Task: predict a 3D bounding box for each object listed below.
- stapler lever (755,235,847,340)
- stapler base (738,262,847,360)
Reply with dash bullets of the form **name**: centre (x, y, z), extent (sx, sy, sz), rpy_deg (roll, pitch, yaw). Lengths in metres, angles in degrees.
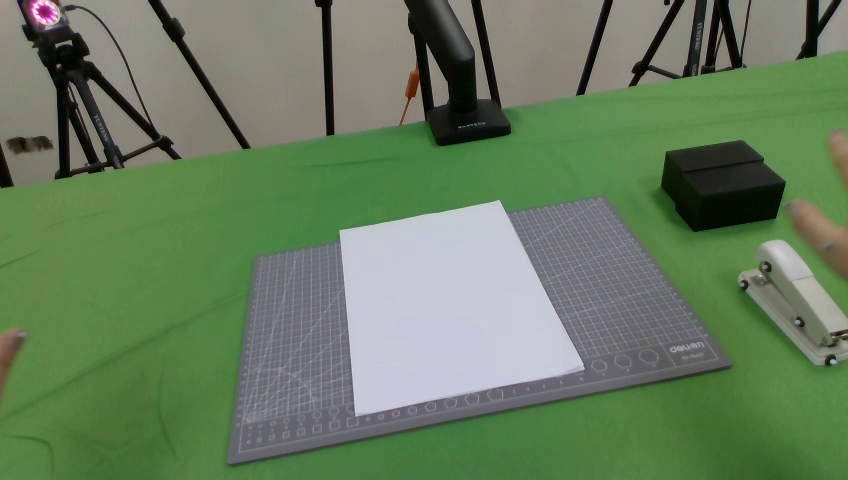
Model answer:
- **stapler lever**: centre (0.352, 0.040, 0.562), extent (0.027, 0.040, 0.117), rpy_deg (-13, 38, -4)
- **stapler base**: centre (0.354, 0.058, 0.578), extent (0.041, 0.025, 0.129), rpy_deg (-13, 39, -4)
